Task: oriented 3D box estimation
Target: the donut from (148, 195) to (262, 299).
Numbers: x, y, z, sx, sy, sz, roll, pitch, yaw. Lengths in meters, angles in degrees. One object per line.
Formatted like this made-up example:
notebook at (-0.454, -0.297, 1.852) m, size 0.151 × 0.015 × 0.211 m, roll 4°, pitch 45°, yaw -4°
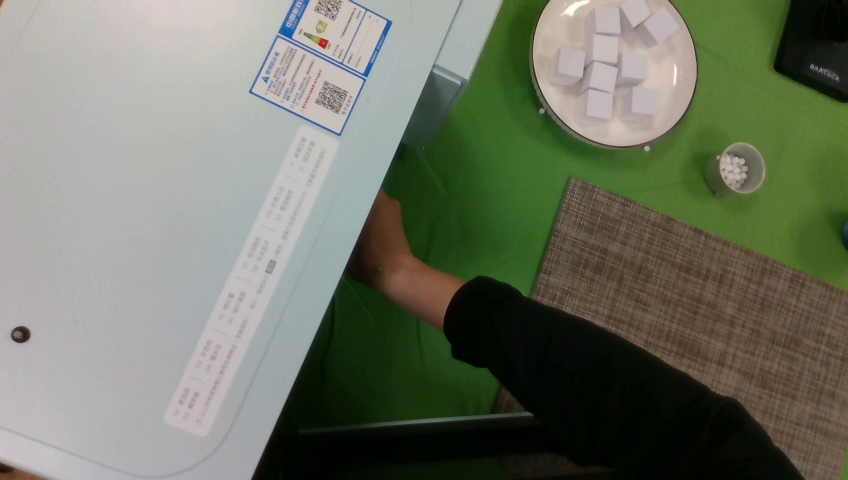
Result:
donut at (-0.197, 0.007, 0.550) m, size 0.099 × 0.048 × 0.098 m, roll 4°, pitch 66°, yaw -9°

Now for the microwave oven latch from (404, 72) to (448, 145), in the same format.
microwave oven latch at (-0.002, -0.145, 0.657) m, size 0.030 × 0.029 × 0.079 m, roll 28°, pitch 83°, yaw -8°

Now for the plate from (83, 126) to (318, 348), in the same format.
plate at (-0.205, -0.003, 0.572) m, size 0.209 × 0.038 × 0.208 m, roll 1°, pitch 80°, yaw -7°

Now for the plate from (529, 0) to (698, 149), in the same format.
plate at (0.221, -0.208, 0.721) m, size 0.208 × 0.039 × 0.207 m, roll 1°, pitch 86°, yaw -10°

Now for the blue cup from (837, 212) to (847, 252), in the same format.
blue cup at (0.570, -0.012, 0.740) m, size 0.093 × 0.100 × 0.092 m, roll 0°, pitch 88°, yaw -10°

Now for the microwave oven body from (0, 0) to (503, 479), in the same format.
microwave oven body at (-0.189, -0.050, 0.519) m, size 0.327 × 0.260 × 0.440 m, roll 24°, pitch 83°, yaw -8°

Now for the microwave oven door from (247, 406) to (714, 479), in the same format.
microwave oven door at (0.026, 0.199, 0.538) m, size 0.357 × 0.243 × 0.039 m, roll -1°, pitch 85°, yaw -10°

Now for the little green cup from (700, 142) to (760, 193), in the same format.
little green cup at (0.371, -0.085, 0.740) m, size 0.062 × 0.038 × 0.061 m, roll 1°, pitch 85°, yaw -10°
